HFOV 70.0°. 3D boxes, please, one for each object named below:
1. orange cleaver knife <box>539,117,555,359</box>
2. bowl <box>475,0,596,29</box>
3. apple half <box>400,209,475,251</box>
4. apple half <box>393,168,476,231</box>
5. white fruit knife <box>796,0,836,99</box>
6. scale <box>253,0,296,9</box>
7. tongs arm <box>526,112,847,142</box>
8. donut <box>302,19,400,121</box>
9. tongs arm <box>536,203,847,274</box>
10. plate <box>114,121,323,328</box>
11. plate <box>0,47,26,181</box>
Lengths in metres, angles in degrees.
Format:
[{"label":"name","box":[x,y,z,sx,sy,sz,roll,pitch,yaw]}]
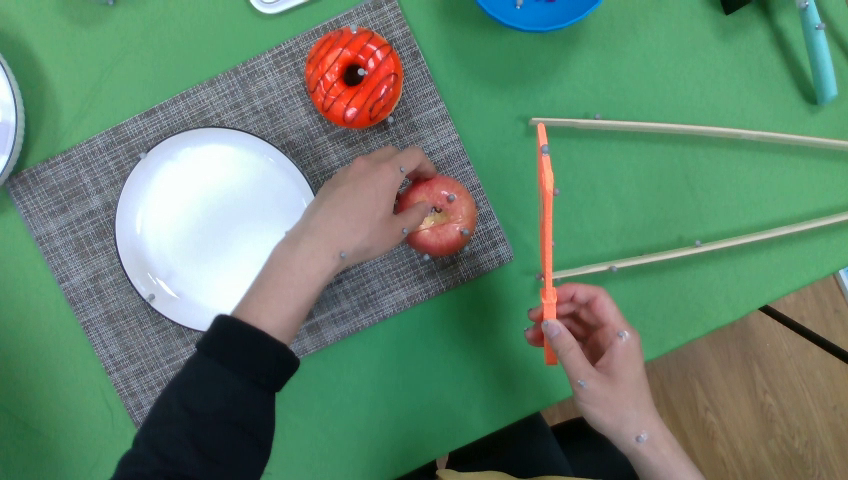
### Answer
[{"label":"orange cleaver knife","box":[0.100,0.006,0.498,0.012,0.076,0.213,-3,124,9]},{"label":"bowl","box":[0.102,-0.271,0.576,0.151,0.076,0.151,0,97,0]},{"label":"apple half","box":[0.018,-0.007,0.601,0.081,0.081,0.033,-18,92,2]},{"label":"apple half","box":[0.007,-0.044,0.599,0.081,0.074,0.053,-17,90,6]},{"label":"white fruit knife","box":[0.363,-0.230,0.580,0.016,0.027,0.209,-27,110,3]},{"label":"scale","box":[-0.136,-0.346,0.590,0.148,0.031,0.201,-21,96,3]},{"label":"tongs arm","box":[0.297,-0.108,0.619,0.388,0.028,0.028,5,88,-1]},{"label":"donut","box":[-0.072,-0.167,0.600,0.099,0.048,0.099,0,98,2]},{"label":"tongs arm","box":[0.304,-0.022,0.625,0.385,0.026,0.051,-10,92,0]},{"label":"plate","box":[-0.205,-0.016,0.619,0.209,0.038,0.209,0,96,0]},{"label":"plate","box":[-0.501,-0.132,0.610,0.208,0.039,0.208,0,96,0]}]
